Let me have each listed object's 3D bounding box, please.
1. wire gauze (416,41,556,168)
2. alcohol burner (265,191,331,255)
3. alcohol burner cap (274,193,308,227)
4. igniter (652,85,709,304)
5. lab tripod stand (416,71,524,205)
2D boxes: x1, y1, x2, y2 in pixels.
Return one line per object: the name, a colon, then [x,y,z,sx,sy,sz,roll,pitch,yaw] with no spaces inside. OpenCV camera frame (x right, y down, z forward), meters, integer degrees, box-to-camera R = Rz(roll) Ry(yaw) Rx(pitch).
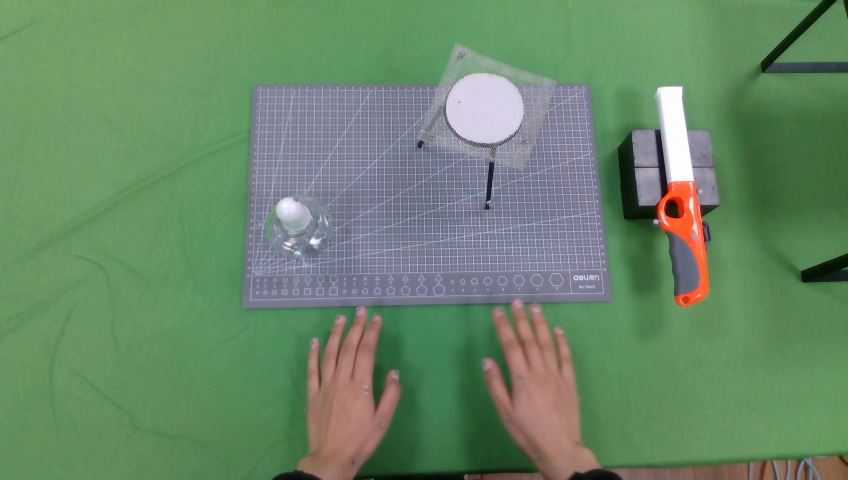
wire gauze: [0.069,-0.147,0.658,0.121,0.011,0.124,21,74,3]
alcohol burner: [-0.147,-0.025,0.695,0.078,0.119,0.077,1,76,-4]
alcohol burner cap: [-0.147,-0.035,0.660,0.034,0.048,0.033,0,77,0]
igniter: [0.305,-0.060,0.727,0.057,0.025,0.275,-1,75,3]
lab tripod stand: [0.064,-0.132,0.724,0.148,0.132,0.147,1,73,-2]
